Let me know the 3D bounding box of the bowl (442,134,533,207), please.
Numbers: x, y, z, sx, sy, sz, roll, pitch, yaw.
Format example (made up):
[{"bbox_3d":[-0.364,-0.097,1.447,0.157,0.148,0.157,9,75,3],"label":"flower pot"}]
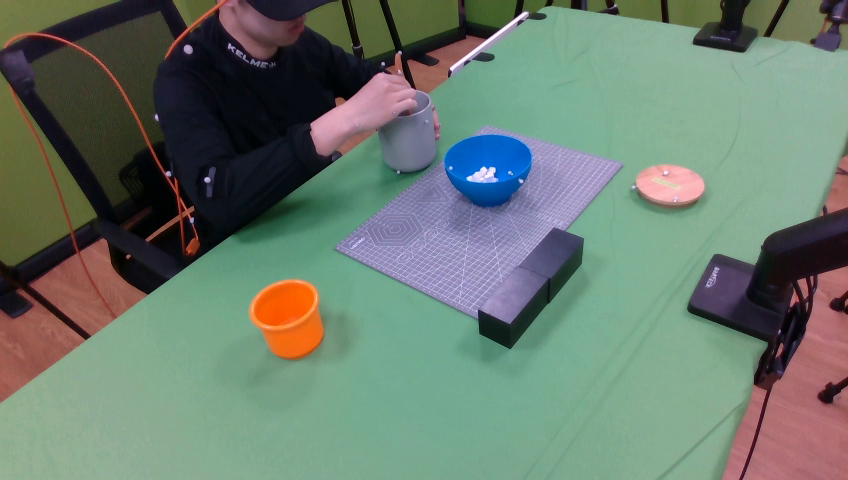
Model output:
[{"bbox_3d":[0.110,-0.109,1.033,0.151,0.077,0.150,-4,41,4],"label":"bowl"}]

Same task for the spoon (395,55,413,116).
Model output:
[{"bbox_3d":[-0.027,-0.238,1.080,0.021,0.195,0.042,19,51,38],"label":"spoon"}]

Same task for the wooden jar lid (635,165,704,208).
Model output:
[{"bbox_3d":[0.410,-0.089,1.014,0.108,0.021,0.108,-5,42,5],"label":"wooden jar lid"}]

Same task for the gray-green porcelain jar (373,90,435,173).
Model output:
[{"bbox_3d":[-0.034,-0.198,1.125,0.106,0.127,0.105,-4,40,4],"label":"gray-green porcelain jar"}]
